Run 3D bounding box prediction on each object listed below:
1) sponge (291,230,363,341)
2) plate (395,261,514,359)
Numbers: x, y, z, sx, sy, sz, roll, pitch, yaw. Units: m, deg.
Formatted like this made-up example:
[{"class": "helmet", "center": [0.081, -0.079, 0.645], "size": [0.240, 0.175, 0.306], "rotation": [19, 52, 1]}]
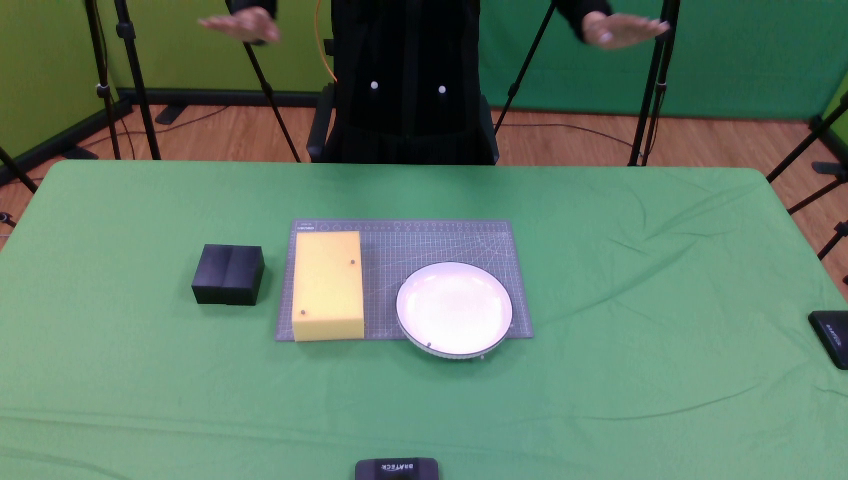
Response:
[{"class": "sponge", "center": [-0.171, 0.077, 1.081], "size": [0.118, 0.061, 0.205], "rotation": [-3, 47, -6]}, {"class": "plate", "center": [0.052, 0.124, 1.066], "size": [0.209, 0.038, 0.208], "rotation": [2, 46, -2]}]
